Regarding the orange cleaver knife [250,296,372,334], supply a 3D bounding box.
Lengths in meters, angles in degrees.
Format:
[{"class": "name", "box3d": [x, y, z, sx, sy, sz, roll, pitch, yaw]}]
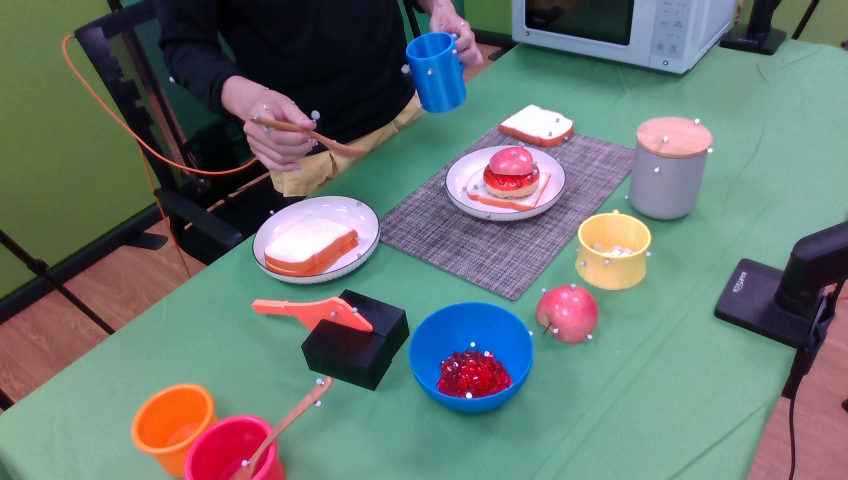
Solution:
[{"class": "orange cleaver knife", "box3d": [-0.158, 0.103, 0.828, 0.210, 0.078, 0.012, -4, 43, 39]}]

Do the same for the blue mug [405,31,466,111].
[{"class": "blue mug", "box3d": [0.032, -0.294, 1.024, 0.081, 0.106, 0.117, 25, 60, 35]}]

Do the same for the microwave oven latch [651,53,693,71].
[{"class": "microwave oven latch", "box3d": [0.532, -0.386, 1.301, 0.078, 0.029, 0.030, 27, 52, 34]}]

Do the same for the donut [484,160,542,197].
[{"class": "donut", "box3d": [0.149, -0.110, 1.016, 0.099, 0.048, 0.098, -4, 40, 4]}]

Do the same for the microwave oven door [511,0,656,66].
[{"class": "microwave oven door", "box3d": [0.351, -0.540, 1.349, 0.353, 0.245, 0.039, 24, 50, 31]}]

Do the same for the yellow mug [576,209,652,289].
[{"class": "yellow mug", "box3d": [0.279, 0.004, 0.893, 0.099, 0.064, 0.130, 5, 42, 14]}]

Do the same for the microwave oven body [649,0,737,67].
[{"class": "microwave oven body", "box3d": [0.475, -0.602, 1.411, 0.438, 0.261, 0.327, 23, 50, 32]}]

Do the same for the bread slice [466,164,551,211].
[{"class": "bread slice", "box3d": [0.141, -0.093, 1.042, 0.133, 0.018, 0.107, 10, 43, 19]}]

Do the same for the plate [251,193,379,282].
[{"class": "plate", "box3d": [-0.174, -0.001, 0.984, 0.209, 0.038, 0.208, -4, 40, 4]}]

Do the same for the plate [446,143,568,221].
[{"class": "plate", "box3d": [0.142, -0.096, 1.045, 0.207, 0.039, 0.206, -4, 41, 4]}]

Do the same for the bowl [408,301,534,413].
[{"class": "bowl", "box3d": [0.059, 0.156, 0.739, 0.151, 0.077, 0.150, -4, 40, 4]}]

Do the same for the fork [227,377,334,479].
[{"class": "fork", "box3d": [-0.163, 0.216, 0.647, 0.207, 0.019, 0.028, -49, 41, 16]}]

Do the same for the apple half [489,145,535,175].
[{"class": "apple half", "box3d": [0.145, -0.138, 0.995, 0.081, 0.033, 0.081, -2, 35, 2]}]

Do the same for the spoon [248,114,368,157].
[{"class": "spoon", "box3d": [-0.146, -0.135, 0.785, 0.041, 0.195, 0.021, -2, 79, 38]}]

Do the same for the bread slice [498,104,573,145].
[{"class": "bread slice", "box3d": [0.231, -0.231, 1.205, 0.105, 0.019, 0.130, -36, 47, -29]}]

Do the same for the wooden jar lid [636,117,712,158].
[{"class": "wooden jar lid", "box3d": [0.377, -0.151, 0.917, 0.108, 0.021, 0.108, -2, 42, 3]}]

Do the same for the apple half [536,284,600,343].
[{"class": "apple half", "box3d": [0.196, 0.091, 0.815, 0.075, 0.053, 0.080, -22, 42, -20]}]

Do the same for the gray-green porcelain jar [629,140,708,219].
[{"class": "gray-green porcelain jar", "box3d": [0.383, -0.105, 0.958, 0.106, 0.127, 0.105, -4, 41, 4]}]
